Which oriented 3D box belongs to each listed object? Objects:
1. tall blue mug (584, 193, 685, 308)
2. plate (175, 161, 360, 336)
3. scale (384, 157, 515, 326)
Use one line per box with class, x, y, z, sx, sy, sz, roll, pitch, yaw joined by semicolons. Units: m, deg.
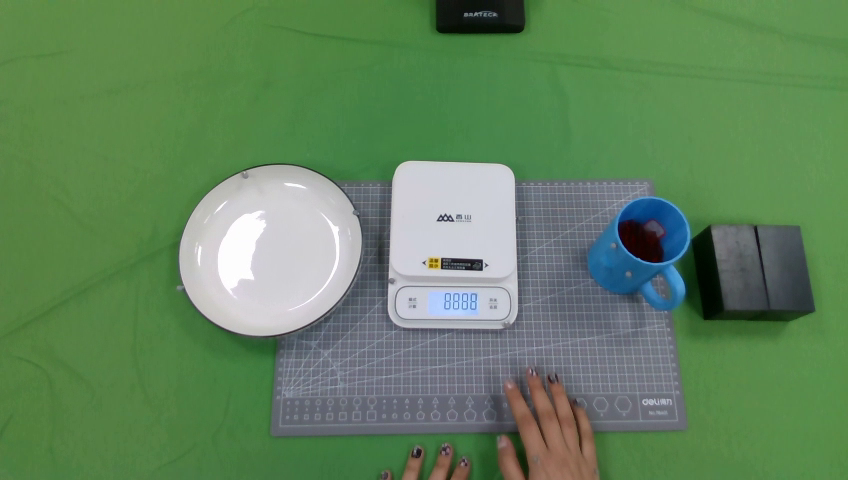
tall blue mug;0.241;0.014;0.665;0.107;0.108;0.077;35;73;11
plate;-0.175;0.010;0.697;0.209;0.038;0.207;0;71;1
scale;0.030;-0.001;0.707;0.149;0.032;0.199;1;72;0
